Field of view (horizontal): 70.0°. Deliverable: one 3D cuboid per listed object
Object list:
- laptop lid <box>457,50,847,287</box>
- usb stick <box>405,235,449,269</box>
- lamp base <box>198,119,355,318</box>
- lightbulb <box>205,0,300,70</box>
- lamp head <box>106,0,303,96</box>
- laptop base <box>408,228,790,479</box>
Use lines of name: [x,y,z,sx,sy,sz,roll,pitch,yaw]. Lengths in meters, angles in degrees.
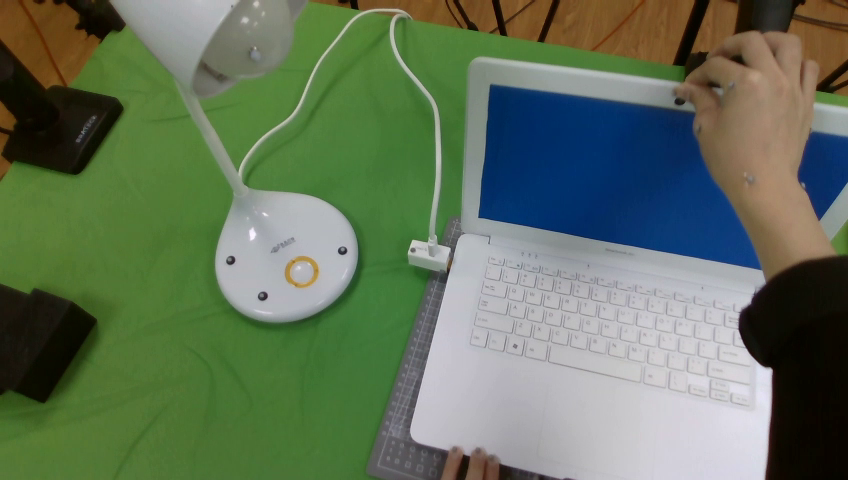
laptop lid: [0.207,-0.056,0.573,0.356,0.244,0.013,9,51,10]
usb stick: [0.010,0.015,0.665,0.059,0.027,0.021,15,59,8]
lamp base: [-0.171,-0.031,0.623,0.178,0.182,0.160,39,70,24]
lightbulb: [-0.110,-0.150,0.340,0.059,0.059,0.108,-25,103,-10]
lamp head: [-0.140,-0.160,0.346,0.123,0.112,0.112,40,69,-4]
laptop base: [0.180,0.122,0.614,0.353,0.023,0.234,11,67,9]
